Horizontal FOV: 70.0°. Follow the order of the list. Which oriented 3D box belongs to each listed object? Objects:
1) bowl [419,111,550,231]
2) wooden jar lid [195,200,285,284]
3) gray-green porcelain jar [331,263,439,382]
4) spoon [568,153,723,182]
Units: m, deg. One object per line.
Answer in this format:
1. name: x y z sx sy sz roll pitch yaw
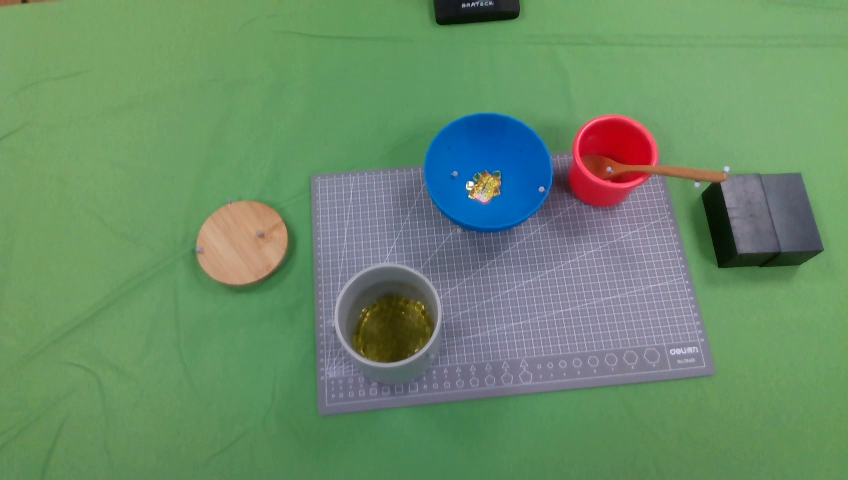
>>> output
1. bowl: 0.070 -0.070 0.731 0.151 0.077 0.150 0 69 0
2. wooden jar lid: -0.223 0.004 0.738 0.108 0.021 0.107 0 69 1
3. gray-green porcelain jar: -0.037 0.093 0.644 0.106 0.127 0.105 0 69 0
4. spoon: 0.247 -0.080 0.698 0.022 0.192 0.041 43 73 -33
